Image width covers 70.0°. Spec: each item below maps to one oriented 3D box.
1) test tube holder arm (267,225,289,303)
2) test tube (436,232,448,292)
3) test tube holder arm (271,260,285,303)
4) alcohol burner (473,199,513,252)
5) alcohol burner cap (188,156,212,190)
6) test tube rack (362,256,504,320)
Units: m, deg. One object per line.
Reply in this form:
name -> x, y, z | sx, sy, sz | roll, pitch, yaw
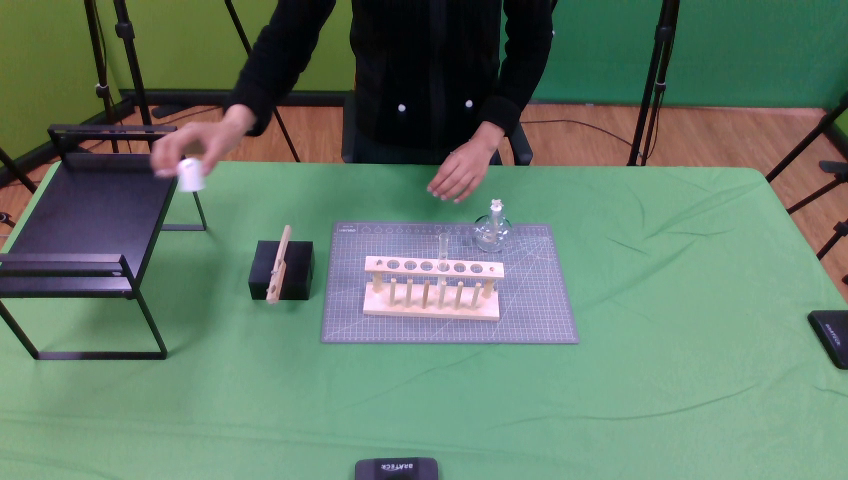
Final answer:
test tube holder arm -> -0.258, 0.039, 1.077 | 0.013, 0.015, 0.177 | -6, 46, 4
test tube -> 0.030, 0.042, 1.042 | 0.017, 0.151, 0.017 | 1, 48, -1
test tube holder arm -> -0.252, 0.070, 1.045 | 0.010, 0.015, 0.087 | -6, 46, 4
alcohol burner -> 0.135, -0.034, 1.174 | 0.078, 0.120, 0.077 | 1, 47, -1
alcohol burner cap -> -0.333, -0.100, 0.897 | 0.034, 0.048, 0.033 | 2, 23, -1
test tube rack -> 0.015, 0.085, 1.069 | 0.242, 0.085, 0.066 | 3, 45, -2
